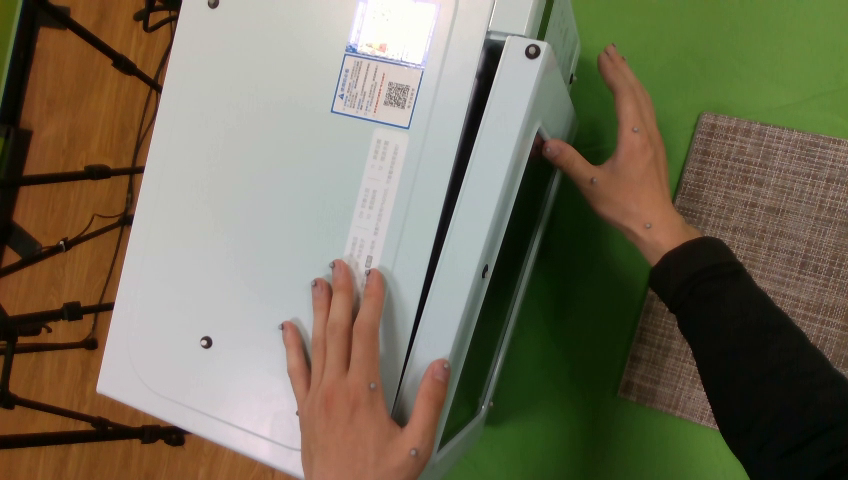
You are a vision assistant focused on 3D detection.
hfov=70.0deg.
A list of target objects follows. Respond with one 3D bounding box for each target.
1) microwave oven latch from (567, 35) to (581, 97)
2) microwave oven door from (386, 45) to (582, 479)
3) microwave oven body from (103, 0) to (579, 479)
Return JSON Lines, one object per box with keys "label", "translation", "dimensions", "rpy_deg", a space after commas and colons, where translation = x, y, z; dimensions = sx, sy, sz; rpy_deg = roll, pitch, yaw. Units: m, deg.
{"label": "microwave oven latch", "translation": [0.141, -0.171, 0.626], "dimensions": [0.030, 0.029, 0.079], "rpy_deg": [14, 94, 19]}
{"label": "microwave oven door", "translation": [0.062, 0.039, 0.539], "dimensions": [0.039, 0.245, 0.356], "rpy_deg": [18, 94, 20]}
{"label": "microwave oven body", "translation": [-0.069, -0.038, 0.591], "dimensions": [0.324, 0.261, 0.441], "rpy_deg": [15, 94, 18]}
